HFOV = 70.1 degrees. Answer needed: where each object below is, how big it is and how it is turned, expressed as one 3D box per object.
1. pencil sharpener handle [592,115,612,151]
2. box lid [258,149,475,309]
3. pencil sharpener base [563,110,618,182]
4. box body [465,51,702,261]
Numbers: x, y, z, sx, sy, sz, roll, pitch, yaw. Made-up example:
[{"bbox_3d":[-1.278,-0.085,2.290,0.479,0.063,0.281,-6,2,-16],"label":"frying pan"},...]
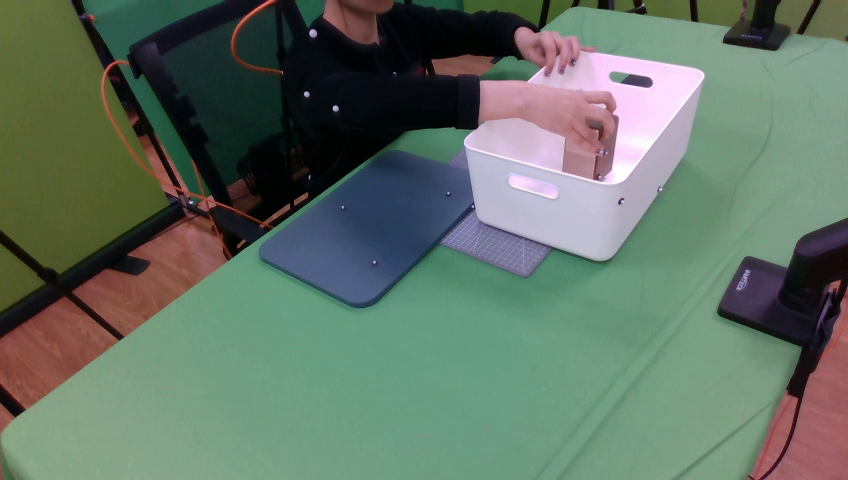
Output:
[{"bbox_3d":[0.312,-0.188,1.042,0.035,0.068,0.031,19,40,35],"label":"pencil sharpener handle"},{"bbox_3d":[-0.078,-0.040,1.052,0.261,0.015,0.372,22,49,32],"label":"box lid"},{"bbox_3d":[0.280,-0.155,1.016,0.061,0.107,0.077,21,41,33],"label":"pencil sharpener base"},{"bbox_3d":[0.266,-0.151,0.997,0.252,0.161,0.365,20,48,30],"label":"box body"}]
